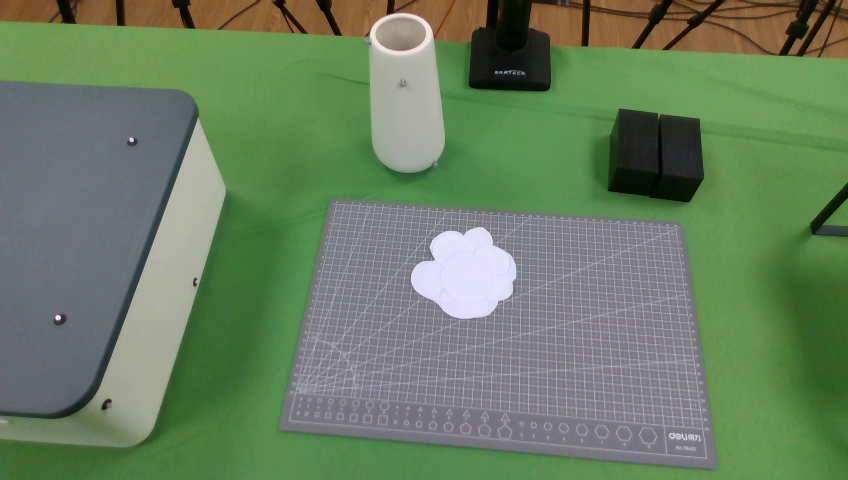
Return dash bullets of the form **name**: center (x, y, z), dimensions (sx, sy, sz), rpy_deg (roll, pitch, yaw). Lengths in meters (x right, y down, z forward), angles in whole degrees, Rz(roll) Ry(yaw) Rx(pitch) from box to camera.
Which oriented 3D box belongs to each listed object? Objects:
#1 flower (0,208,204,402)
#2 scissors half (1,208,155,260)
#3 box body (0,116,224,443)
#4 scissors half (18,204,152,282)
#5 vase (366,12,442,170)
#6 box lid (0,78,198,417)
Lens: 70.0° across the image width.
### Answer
- **flower**: center (-0.386, 0.061, 0.726), dimensions (0.038, 0.044, 0.360), rpy_deg (-8, 31, 34)
- **scissors half**: center (-0.421, -0.004, 0.739), dimensions (0.175, 0.040, 0.012), rpy_deg (-19, 29, -12)
- **box body**: center (-0.389, 0.022, 0.652), dimensions (0.254, 0.162, 0.361), rpy_deg (3, 59, 3)
- **scissors half**: center (-0.416, 0.008, 0.746), dimensions (0.175, 0.040, 0.012), rpy_deg (-27, 24, -7)
- **vase**: center (-0.027, -0.177, 0.747), dimensions (0.098, 0.202, 0.097), rpy_deg (-1, 57, 2)
- **box lid**: center (-0.390, -0.020, 0.588), dimensions (0.263, 0.015, 0.368), rpy_deg (4, 59, 1)
